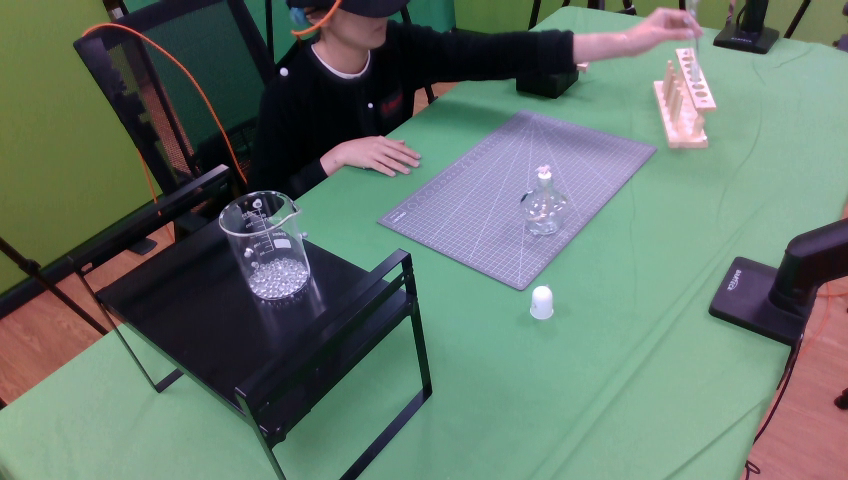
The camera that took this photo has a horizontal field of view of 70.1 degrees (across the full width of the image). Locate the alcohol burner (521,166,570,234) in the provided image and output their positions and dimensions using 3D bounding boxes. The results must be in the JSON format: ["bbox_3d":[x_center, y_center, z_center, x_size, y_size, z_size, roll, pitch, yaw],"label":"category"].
[{"bbox_3d":[0.192,-0.068,0.951,0.078,0.119,0.077,-4,43,4],"label":"alcohol burner"}]

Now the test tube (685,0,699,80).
[{"bbox_3d":[0.462,-0.346,1.042,0.017,0.151,0.017,-15,35,11],"label":"test tube"}]

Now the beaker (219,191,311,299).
[{"bbox_3d":[-0.164,0.008,0.654,0.084,0.101,0.073,-10,41,-3],"label":"beaker"}]

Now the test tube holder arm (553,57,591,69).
[{"bbox_3d":[0.315,-0.380,1.297,0.087,0.015,0.010,21,52,31],"label":"test tube holder arm"}]

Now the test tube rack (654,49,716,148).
[{"bbox_3d":[0.502,-0.281,1.176,0.066,0.085,0.241,2,41,11],"label":"test tube rack"}]

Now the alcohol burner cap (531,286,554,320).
[{"bbox_3d":[0.164,0.084,0.838,0.034,0.048,0.033,-4,40,4],"label":"alcohol burner cap"}]

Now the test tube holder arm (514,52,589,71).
[{"bbox_3d":[0.276,-0.390,1.317,0.177,0.015,0.013,20,51,30],"label":"test tube holder arm"}]
